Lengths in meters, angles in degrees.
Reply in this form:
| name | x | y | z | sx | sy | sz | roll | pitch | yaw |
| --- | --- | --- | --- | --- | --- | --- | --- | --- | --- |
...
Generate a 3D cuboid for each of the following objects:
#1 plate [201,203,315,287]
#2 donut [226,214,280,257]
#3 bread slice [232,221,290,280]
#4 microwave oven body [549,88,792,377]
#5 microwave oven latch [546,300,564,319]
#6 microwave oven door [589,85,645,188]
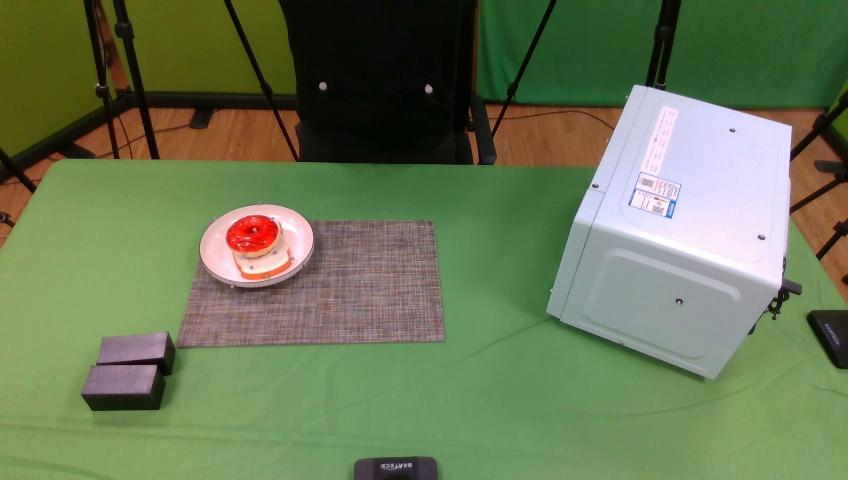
| name | x | y | z | sx | sy | sz | roll | pitch | yaw |
| --- | --- | --- | --- | --- | --- | --- | --- | --- | --- |
| plate | -0.310 | 0.013 | 1.145 | 0.208 | 0.039 | 0.206 | 2 | 46 | -2 |
| donut | -0.318 | -0.010 | 1.127 | 0.099 | 0.048 | 0.098 | 0 | 45 | 1 |
| bread slice | -0.308 | 0.019 | 1.141 | 0.105 | 0.019 | 0.130 | -17 | 49 | -18 |
| microwave oven body | 0.456 | -0.028 | 1.088 | 0.325 | 0.261 | 0.440 | 20 | 47 | 16 |
| microwave oven latch | 0.242 | 0.102 | 1.081 | 0.030 | 0.029 | 0.079 | 22 | 48 | 17 |
| microwave oven door | 0.342 | -0.107 | 1.149 | 0.039 | 0.245 | 0.354 | 20 | 48 | 15 |
